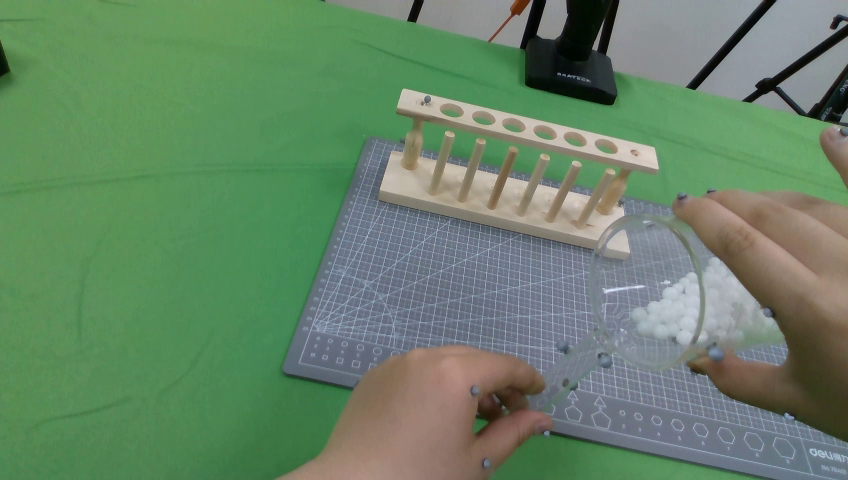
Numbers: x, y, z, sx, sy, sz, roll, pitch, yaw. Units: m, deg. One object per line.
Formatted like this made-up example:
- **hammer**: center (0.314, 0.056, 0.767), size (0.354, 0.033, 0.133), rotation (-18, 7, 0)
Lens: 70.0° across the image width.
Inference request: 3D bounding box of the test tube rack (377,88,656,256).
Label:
- **test tube rack**: center (0.085, -0.063, 0.571), size (0.242, 0.086, 0.066), rotation (13, 45, -2)

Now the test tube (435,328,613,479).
- **test tube**: center (0.052, 0.101, 0.350), size (0.017, 0.150, 0.017), rotation (29, 31, -18)

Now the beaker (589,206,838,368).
- **beaker**: center (0.145, 0.023, 0.307), size (0.101, 0.084, 0.073), rotation (-4, 49, -23)
